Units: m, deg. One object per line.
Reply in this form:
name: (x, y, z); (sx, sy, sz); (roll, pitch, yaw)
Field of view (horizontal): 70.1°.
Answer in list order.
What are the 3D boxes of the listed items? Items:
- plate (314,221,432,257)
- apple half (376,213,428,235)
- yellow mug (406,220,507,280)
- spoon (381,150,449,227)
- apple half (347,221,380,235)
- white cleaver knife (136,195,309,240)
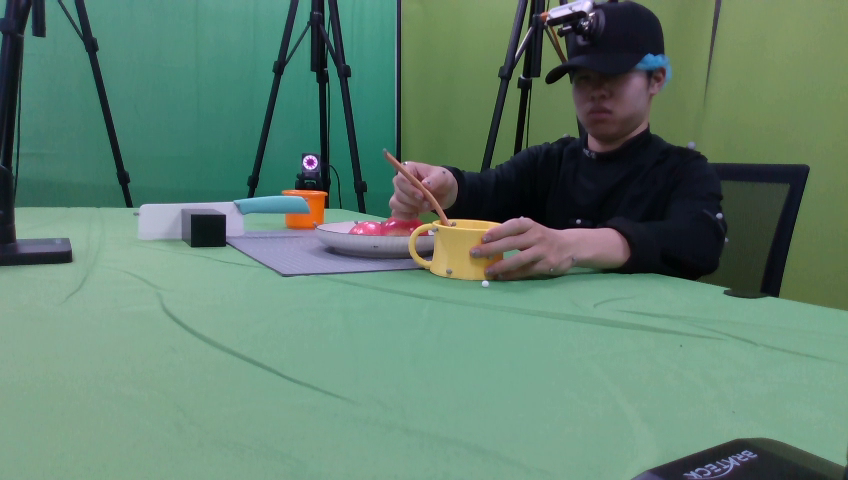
plate: (-0.067, -0.002, 0.947); (0.209, 0.038, 0.209); (3, 7, 0)
apple half: (-0.034, -0.014, 0.924); (0.080, 0.053, 0.075); (5, 10, 16)
yellow mug: (0.041, 0.010, 0.792); (0.131, 0.064, 0.100); (4, 8, 7)
spoon: (0.008, -0.049, 0.811); (0.021, 0.193, 0.041); (-38, -4, 5)
apple half: (-0.089, -0.014, 0.985); (0.081, 0.033, 0.081); (5, 6, 0)
white cleaver knife: (-0.337, -0.039, 1.037); (0.288, 0.066, 0.021); (-6, 15, -29)
